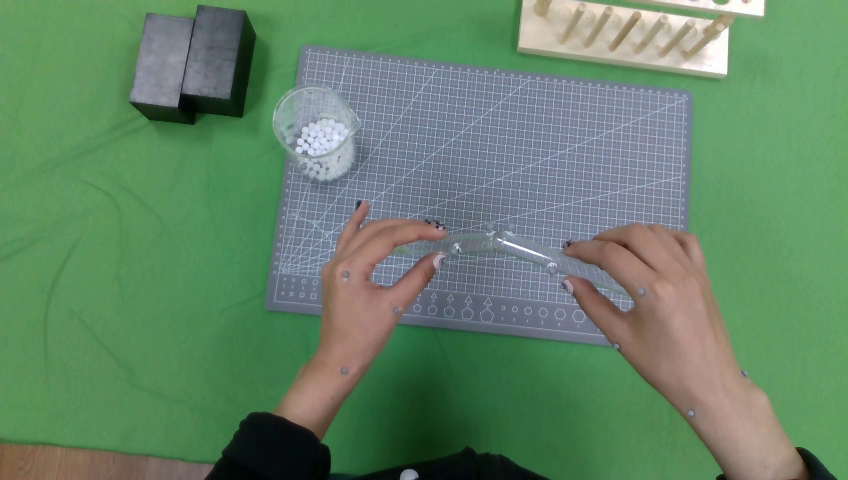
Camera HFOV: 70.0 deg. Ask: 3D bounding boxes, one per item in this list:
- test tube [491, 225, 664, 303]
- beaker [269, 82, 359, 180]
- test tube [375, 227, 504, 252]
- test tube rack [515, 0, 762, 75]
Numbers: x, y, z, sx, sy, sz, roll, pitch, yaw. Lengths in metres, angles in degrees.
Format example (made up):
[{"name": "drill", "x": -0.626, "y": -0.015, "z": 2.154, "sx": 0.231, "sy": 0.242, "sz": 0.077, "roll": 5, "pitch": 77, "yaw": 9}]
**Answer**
[{"name": "test tube", "x": 0.118, "y": 0.020, "z": 0.454, "sx": 0.151, "sy": 0.017, "sz": 0.017, "roll": 20, "pitch": 80, "yaw": -16}, {"name": "beaker", "x": -0.106, "y": -0.107, "z": 0.619, "sx": 0.084, "sy": 0.100, "sz": 0.073, "roll": -2, "pitch": 81, "yaw": -4}, {"name": "test tube", "x": 0.006, "y": 0.001, "z": 0.495, "sx": 0.017, "sy": 0.149, "sz": 0.017, "roll": 2, "pitch": 87, "yaw": -40}, {"name": "test tube rack", "x": 0.230, "y": -0.245, "z": 0.667, "sx": 0.242, "sy": 0.085, "sz": 0.066, "roll": 7, "pitch": 81, "yaw": -2}]
